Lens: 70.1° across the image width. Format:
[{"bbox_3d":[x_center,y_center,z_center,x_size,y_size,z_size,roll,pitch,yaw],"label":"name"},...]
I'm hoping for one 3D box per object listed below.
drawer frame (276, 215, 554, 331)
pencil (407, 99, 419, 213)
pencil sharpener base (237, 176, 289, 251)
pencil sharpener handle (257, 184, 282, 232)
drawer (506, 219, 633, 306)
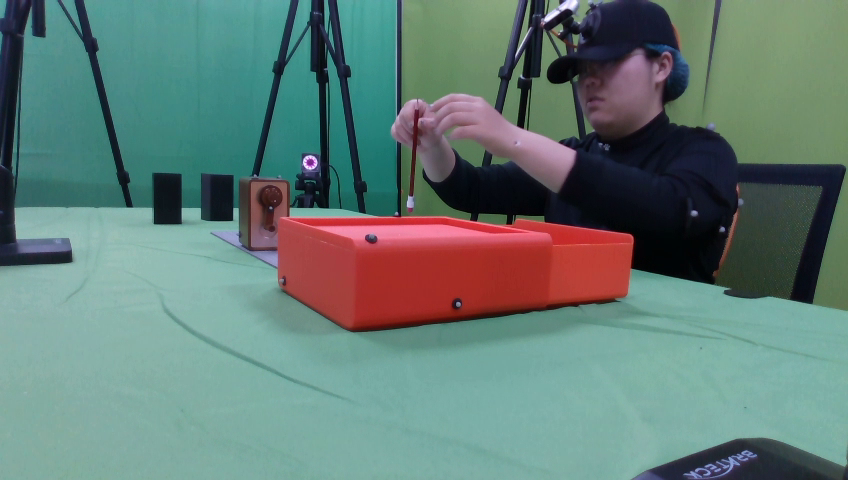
[{"bbox_3d":[-0.015,0.022,0.610,0.215,0.082,0.200,-2,9,-32],"label":"drawer frame"},{"bbox_3d":[-0.018,-0.137,1.007,0.012,0.194,0.012,4,22,-1],"label":"pencil"},{"bbox_3d":[-0.243,-0.041,0.912,0.061,0.107,0.076,-1,8,-29],"label":"pencil sharpener base"},{"bbox_3d":[-0.219,-0.046,0.865,0.036,0.067,0.030,6,5,-29],"label":"pencil sharpener handle"},{"bbox_3d":[0.085,0.021,0.674,0.213,0.073,0.193,-2,9,-32],"label":"drawer"}]
